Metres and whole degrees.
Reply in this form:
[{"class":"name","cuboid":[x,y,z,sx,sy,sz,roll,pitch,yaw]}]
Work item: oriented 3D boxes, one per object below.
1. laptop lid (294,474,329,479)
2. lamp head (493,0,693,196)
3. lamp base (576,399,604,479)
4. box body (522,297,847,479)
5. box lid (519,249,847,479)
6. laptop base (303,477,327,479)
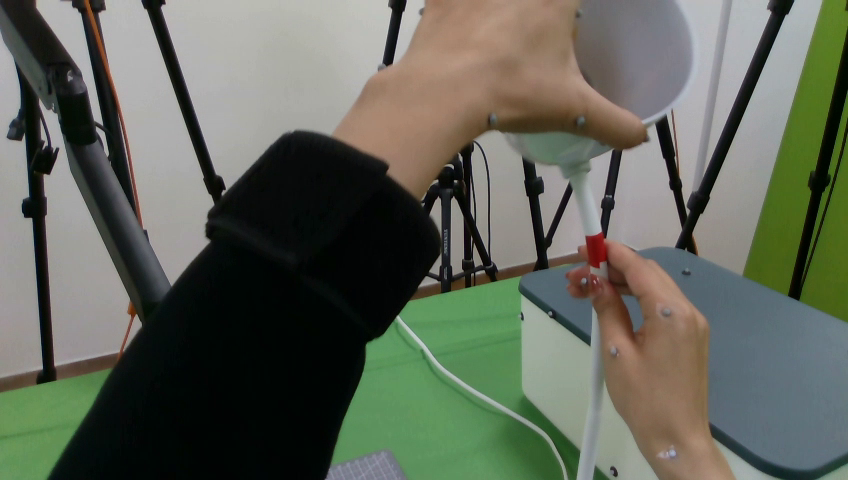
[{"class":"laptop lid","cuboid":[-0.216,0.307,0.461,0.358,0.013,0.239,-9,25,-20]},{"class":"lamp head","cuboid":[0.096,-0.092,0.394,0.112,0.111,0.123,-3,-20,-6]},{"class":"lamp base","cuboid":[0.112,0.226,0.471,0.160,0.181,0.179,8,20,16]},{"class":"box body","cuboid":[0.298,0.164,0.657,0.255,0.161,0.360,-10,24,-24]},{"class":"box lid","cuboid":[0.297,0.094,0.631,0.264,0.015,0.367,-9,23,-24]},{"class":"laptop base","cuboid":[-0.217,0.317,0.467,0.355,0.023,0.233,-9,27,-22]}]
